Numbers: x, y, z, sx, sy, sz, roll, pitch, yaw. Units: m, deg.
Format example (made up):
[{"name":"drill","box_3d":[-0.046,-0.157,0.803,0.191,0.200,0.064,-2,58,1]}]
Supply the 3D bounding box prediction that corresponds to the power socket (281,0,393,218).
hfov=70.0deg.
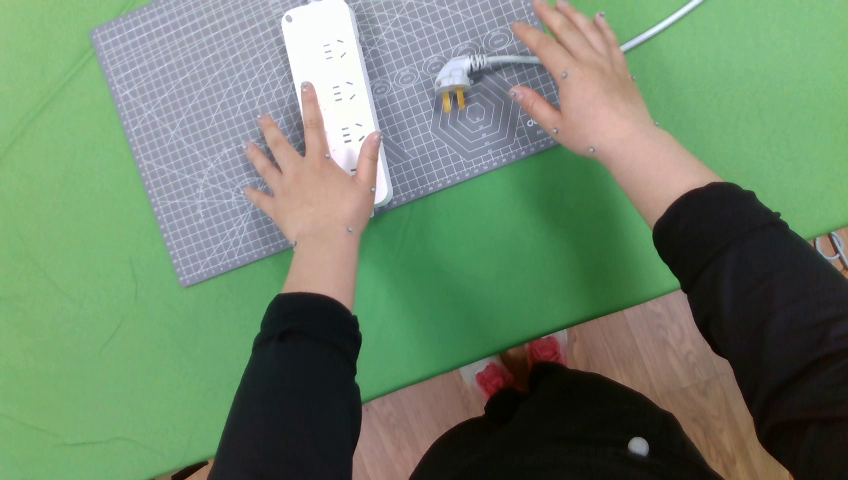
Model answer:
[{"name":"power socket","box_3d":[-0.087,-0.135,0.613,0.072,0.032,0.226,-13,90,6]}]

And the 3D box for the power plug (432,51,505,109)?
[{"name":"power plug","box_3d":[0.043,-0.158,0.592,0.072,0.035,0.052,-6,89,16]}]
